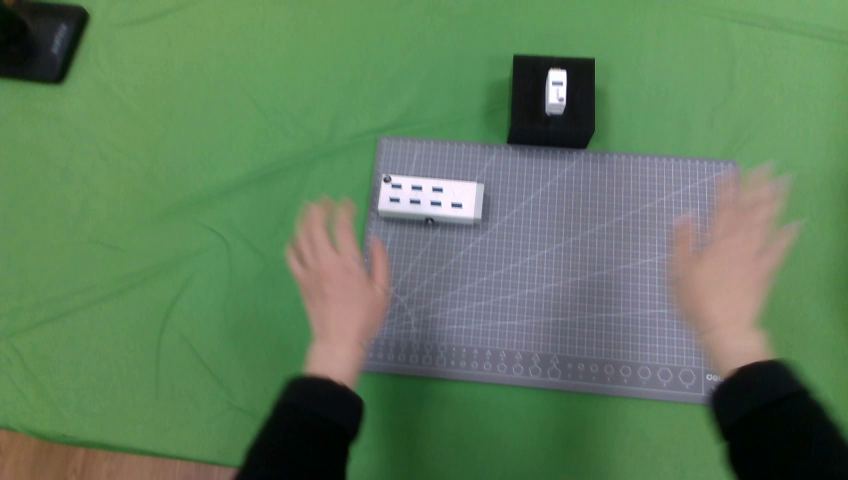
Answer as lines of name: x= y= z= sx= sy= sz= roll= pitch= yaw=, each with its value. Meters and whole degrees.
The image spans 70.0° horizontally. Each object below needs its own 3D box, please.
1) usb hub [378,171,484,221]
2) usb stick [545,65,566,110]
usb hub: x=0.008 y=-0.054 z=0.734 sx=0.125 sy=0.025 sz=0.049 roll=5 pitch=72 yaw=3
usb stick: x=0.156 y=-0.187 z=0.721 sx=0.021 sy=0.027 sz=0.059 roll=3 pitch=71 yaw=6
